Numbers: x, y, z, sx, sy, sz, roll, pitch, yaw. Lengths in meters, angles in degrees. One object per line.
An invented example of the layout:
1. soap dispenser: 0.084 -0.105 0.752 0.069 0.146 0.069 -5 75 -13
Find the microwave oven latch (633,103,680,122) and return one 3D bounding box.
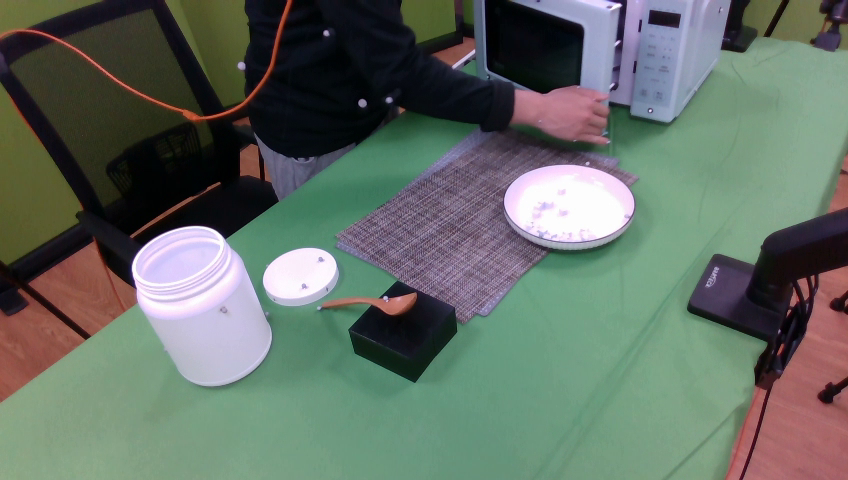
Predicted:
1. microwave oven latch: 0.443 -0.249 1.158 0.078 0.029 0.030 21 49 30

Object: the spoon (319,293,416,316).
1. spoon: -0.082 0.086 0.826 0.192 0.022 0.041 -3 37 41

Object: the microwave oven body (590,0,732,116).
1. microwave oven body: 0.377 -0.463 1.267 0.438 0.261 0.327 21 49 30

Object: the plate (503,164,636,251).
1. plate: 0.232 -0.050 0.976 0.209 0.038 0.208 -3 41 3

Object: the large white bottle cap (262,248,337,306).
1. large white bottle cap: -0.193 0.056 0.934 0.115 0.018 0.114 -4 41 4

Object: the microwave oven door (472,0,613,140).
1. microwave oven door: 0.217 -0.367 1.172 0.039 0.245 0.352 -29 45 -23

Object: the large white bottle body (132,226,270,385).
1. large white bottle body: -0.286 0.084 0.784 0.130 0.185 0.130 -4 41 4

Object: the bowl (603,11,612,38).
1. bowl: 0.323 -0.441 1.298 0.151 0.077 0.150 -4 41 4
